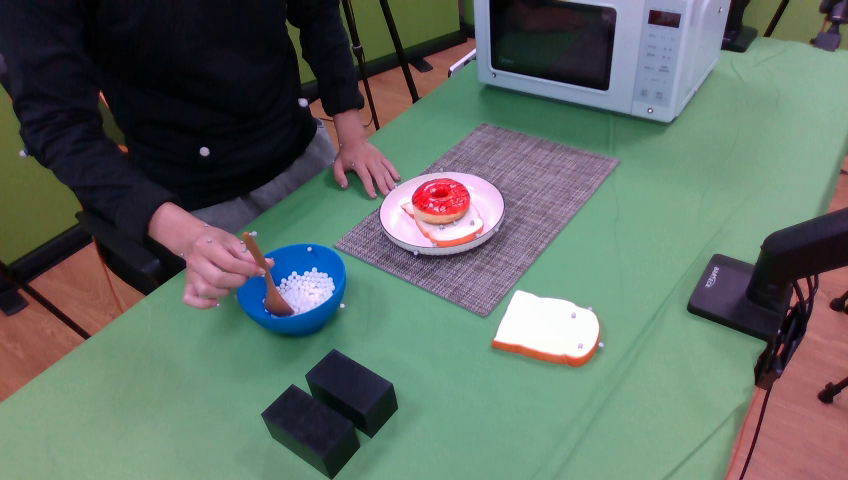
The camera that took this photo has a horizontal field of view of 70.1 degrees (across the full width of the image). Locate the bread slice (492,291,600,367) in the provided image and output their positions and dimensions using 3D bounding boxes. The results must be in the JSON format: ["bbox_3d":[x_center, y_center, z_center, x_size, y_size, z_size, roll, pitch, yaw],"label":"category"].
[{"bbox_3d":[0.169,0.118,0.811,0.131,0.019,0.105,11,44,21],"label":"bread slice"}]

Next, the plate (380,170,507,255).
[{"bbox_3d":[0.033,-0.042,0.995,0.207,0.039,0.206,-4,40,4],"label":"plate"}]

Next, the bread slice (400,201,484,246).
[{"bbox_3d":[0.037,-0.038,0.990,0.107,0.018,0.133,-23,43,-17],"label":"bread slice"}]

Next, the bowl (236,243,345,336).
[{"bbox_3d":[-0.180,0.082,0.855,0.151,0.077,0.150,-4,41,4],"label":"bowl"}]

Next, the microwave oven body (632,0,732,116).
[{"bbox_3d":[0.377,-0.462,1.267,0.438,0.261,0.327,21,48,30],"label":"microwave oven body"}]

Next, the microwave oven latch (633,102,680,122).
[{"bbox_3d":[0.444,-0.249,1.157,0.078,0.029,0.030,21,49,30],"label":"microwave oven latch"}]

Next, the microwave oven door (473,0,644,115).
[{"bbox_3d":[0.257,-0.396,1.199,0.353,0.245,0.039,21,48,29],"label":"microwave oven door"}]

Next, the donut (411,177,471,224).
[{"bbox_3d":[0.028,-0.064,0.978,0.099,0.048,0.098,-4,40,4],"label":"donut"}]

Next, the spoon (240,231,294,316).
[{"bbox_3d":[-0.201,0.047,0.765,0.041,0.194,0.021,7,51,9],"label":"spoon"}]
